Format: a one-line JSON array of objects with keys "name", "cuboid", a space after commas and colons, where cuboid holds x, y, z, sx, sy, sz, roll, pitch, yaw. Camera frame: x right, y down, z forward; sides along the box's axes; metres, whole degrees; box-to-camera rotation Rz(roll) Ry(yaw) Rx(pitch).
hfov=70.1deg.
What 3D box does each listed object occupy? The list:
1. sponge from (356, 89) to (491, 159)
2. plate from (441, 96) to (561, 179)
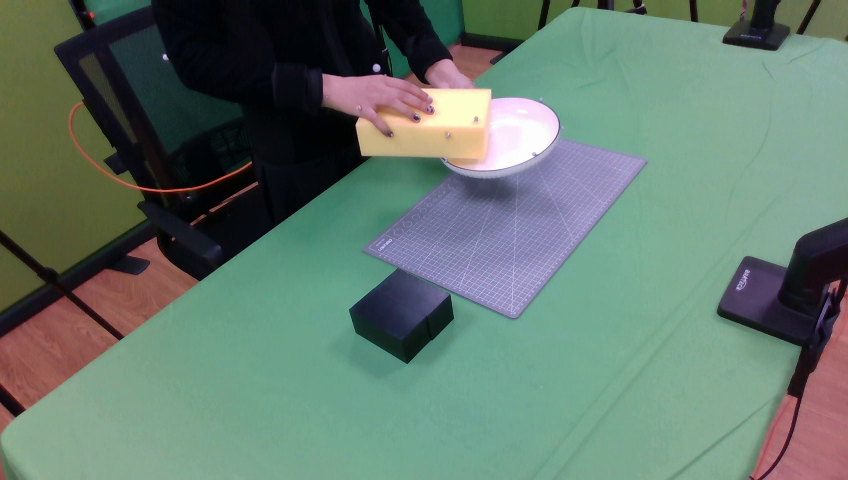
[{"name": "sponge", "cuboid": [0.004, -0.193, 0.998, 0.206, 0.061, 0.118, 2, 44, 8]}, {"name": "plate", "cuboid": [0.123, -0.168, 1.012, 0.209, 0.038, 0.208, -8, 44, 9]}]
